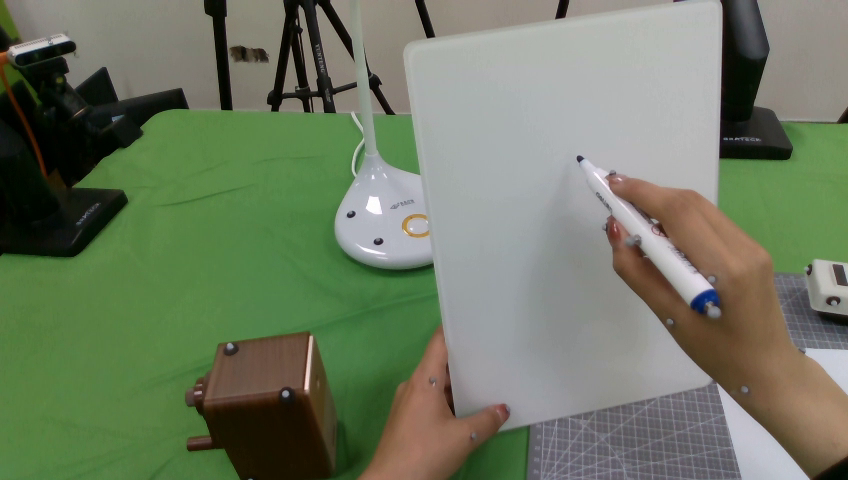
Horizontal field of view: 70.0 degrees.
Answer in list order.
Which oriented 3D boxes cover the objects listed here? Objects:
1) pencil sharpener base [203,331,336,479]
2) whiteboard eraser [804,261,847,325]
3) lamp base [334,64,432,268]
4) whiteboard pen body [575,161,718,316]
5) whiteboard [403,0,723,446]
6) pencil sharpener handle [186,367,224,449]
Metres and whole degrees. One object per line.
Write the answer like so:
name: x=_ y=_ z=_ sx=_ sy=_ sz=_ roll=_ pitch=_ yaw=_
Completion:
pencil sharpener base: x=-0.113 y=0.127 z=0.454 sx=0.077 sy=0.108 sz=0.060 roll=-7 pitch=39 yaw=-1
whiteboard eraser: x=0.405 y=0.053 z=0.538 sx=0.112 sy=0.042 sz=0.055 roll=9 pitch=42 yaw=18
lamp base: x=-0.037 y=-0.088 z=0.654 sx=0.161 sy=0.182 sz=0.177 roll=-28 pitch=42 yaw=-26
whiteboard pen body: x=0.127 y=-0.008 z=0.365 sx=0.017 sy=0.017 sz=0.139 roll=-15 pitch=46 yaw=-12
whiteboard: x=0.104 y=-0.020 z=0.502 sx=0.217 sy=0.307 sz=0.143 roll=-10 pitch=20 yaw=-5
pencil sharpener handle: x=-0.164 y=0.126 z=0.442 sx=0.030 sy=0.068 sz=0.035 roll=-7 pitch=26 yaw=-1
